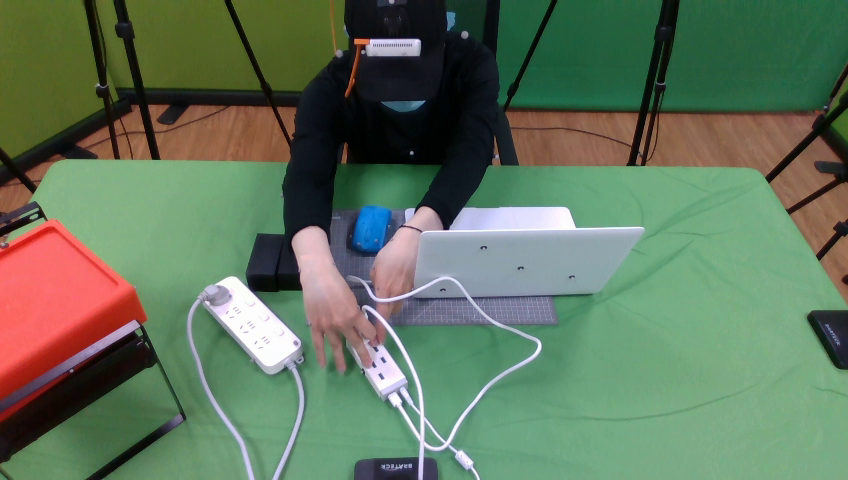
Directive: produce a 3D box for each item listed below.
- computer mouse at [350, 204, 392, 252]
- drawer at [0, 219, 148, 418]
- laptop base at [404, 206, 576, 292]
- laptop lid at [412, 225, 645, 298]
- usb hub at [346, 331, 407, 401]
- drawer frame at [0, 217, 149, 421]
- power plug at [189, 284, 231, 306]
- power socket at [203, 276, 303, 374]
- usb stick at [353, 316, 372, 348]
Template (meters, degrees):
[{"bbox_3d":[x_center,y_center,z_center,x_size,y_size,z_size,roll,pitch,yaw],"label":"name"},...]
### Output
[{"bbox_3d":[-0.104,-0.027,1.202,0.063,0.041,0.116,11,51,3],"label":"computer mouse"},{"bbox_3d":[-0.509,0.093,0.783,0.193,0.073,0.211,32,53,24],"label":"drawer"},{"bbox_3d":[0.143,0.018,1.196,0.355,0.023,0.234,-1,43,-6],"label":"laptop base"},{"bbox_3d":[0.161,0.042,1.012,0.357,0.242,0.013,0,59,-7],"label":"laptop lid"},{"bbox_3d":[-0.079,0.202,0.998,0.049,0.025,0.124,-23,52,-24],"label":"usb hub"},{"bbox_3d":[-0.510,0.093,0.780,0.201,0.083,0.213,31,52,23],"label":"drawer frame"},{"bbox_3d":[-0.368,0.100,1.037,0.072,0.053,0.035,-24,54,-26],"label":"power plug"},{"bbox_3d":[-0.296,0.141,1.034,0.072,0.033,0.225,-34,58,-30],"label":"power socket"},{"bbox_3d":[-0.101,0.157,0.997,0.027,0.059,0.021,-26,41,-35],"label":"usb stick"}]
